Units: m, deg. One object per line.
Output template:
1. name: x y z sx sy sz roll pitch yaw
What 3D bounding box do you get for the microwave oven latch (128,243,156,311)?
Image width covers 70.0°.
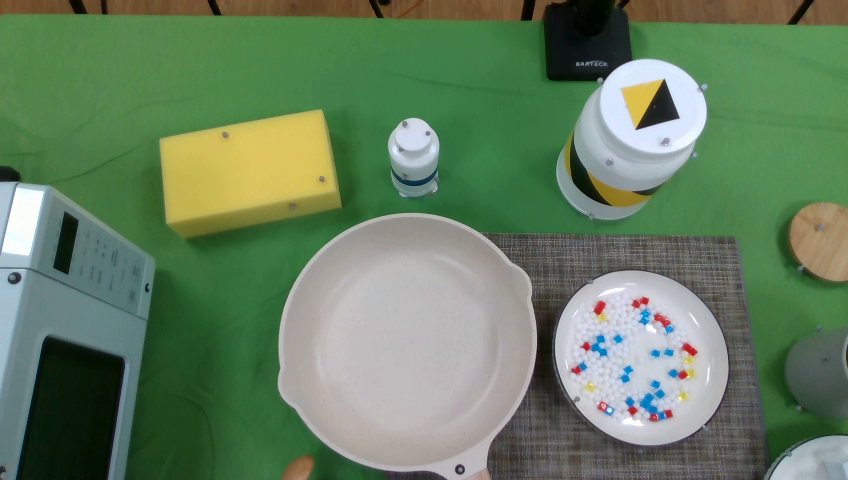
1. microwave oven latch: -0.345 0.044 0.729 0.030 0.029 0.078 3 74 0

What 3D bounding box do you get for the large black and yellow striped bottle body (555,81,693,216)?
1. large black and yellow striped bottle body: 0.241 -0.118 0.732 0.131 0.185 0.130 0 73 0

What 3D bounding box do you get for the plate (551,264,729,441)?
1. plate: 0.255 0.133 0.729 0.209 0.038 0.208 0 73 0

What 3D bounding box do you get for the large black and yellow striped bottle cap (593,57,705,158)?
1. large black and yellow striped bottle cap: 0.241 -0.143 0.650 0.115 0.019 0.114 0 72 0

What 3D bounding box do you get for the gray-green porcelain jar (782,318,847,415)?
1. gray-green porcelain jar: 0.485 0.144 0.687 0.106 0.127 0.105 0 73 -1

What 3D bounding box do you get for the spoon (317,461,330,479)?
1. spoon: -0.166 0.305 0.626 0.193 0.041 0.021 -42 91 -9

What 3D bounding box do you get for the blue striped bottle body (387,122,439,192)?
1. blue striped bottle body: -0.014 -0.110 0.757 0.063 0.121 0.062 0 73 -1

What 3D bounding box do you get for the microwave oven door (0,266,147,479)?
1. microwave oven door: -0.351 0.224 0.569 0.039 0.245 0.353 1 73 0

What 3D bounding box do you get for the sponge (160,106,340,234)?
1. sponge: -0.220 -0.090 0.779 0.207 0.061 0.117 -12 74 -5

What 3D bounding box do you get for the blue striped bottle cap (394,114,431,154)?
1. blue striped bottle cap: -0.014 -0.124 0.708 0.044 0.021 0.044 0 70 1

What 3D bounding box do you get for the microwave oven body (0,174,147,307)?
1. microwave oven body: -0.495 0.181 0.585 0.326 0.261 0.439 1 74 -1

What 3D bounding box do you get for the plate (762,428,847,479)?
1. plate: 0.476 0.319 0.681 0.208 0.039 0.206 0 73 -1

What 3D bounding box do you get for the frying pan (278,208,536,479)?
1. frying pan: 0.022 0.193 0.665 0.307 0.103 0.483 -24 65 -3

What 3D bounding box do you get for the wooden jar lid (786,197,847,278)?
1. wooden jar lid: 0.523 -0.002 0.787 0.108 0.021 0.108 0 75 0
